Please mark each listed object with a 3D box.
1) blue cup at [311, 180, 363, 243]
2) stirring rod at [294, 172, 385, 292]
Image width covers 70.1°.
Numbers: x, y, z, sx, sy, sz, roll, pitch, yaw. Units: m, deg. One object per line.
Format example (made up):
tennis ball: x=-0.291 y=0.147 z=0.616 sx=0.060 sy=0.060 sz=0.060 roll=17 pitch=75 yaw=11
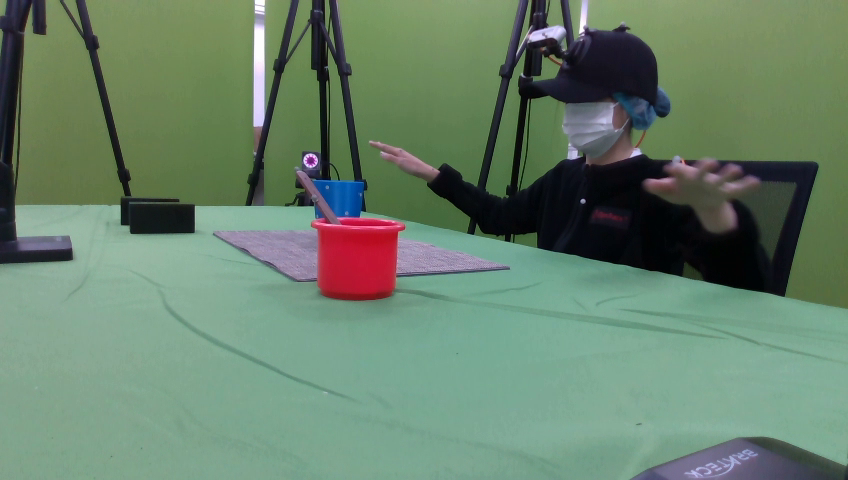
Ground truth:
blue cup: x=-0.144 y=-0.047 z=0.997 sx=0.093 sy=0.100 sz=0.092 roll=2 pitch=6 yaw=0
stirring rod: x=-0.092 y=-0.012 z=0.639 sx=0.014 sy=0.006 sz=0.175 roll=-2 pitch=48 yaw=-53
